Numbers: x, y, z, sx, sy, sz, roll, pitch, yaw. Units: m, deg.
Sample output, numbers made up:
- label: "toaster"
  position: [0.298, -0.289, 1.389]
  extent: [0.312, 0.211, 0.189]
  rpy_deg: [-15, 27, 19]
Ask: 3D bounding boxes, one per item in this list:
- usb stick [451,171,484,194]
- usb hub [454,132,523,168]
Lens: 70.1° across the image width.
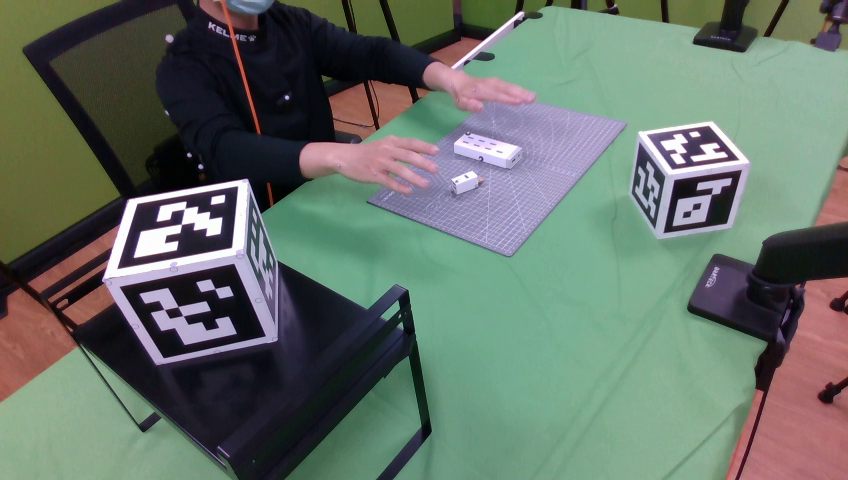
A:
- label: "usb stick"
  position: [0.079, -0.104, 1.072]
  extent: [0.059, 0.027, 0.021]
  rpy_deg: [-20, 42, -18]
- label: "usb hub"
  position: [0.121, -0.171, 1.144]
  extent: [0.124, 0.025, 0.049]
  rpy_deg: [22, 48, 29]
